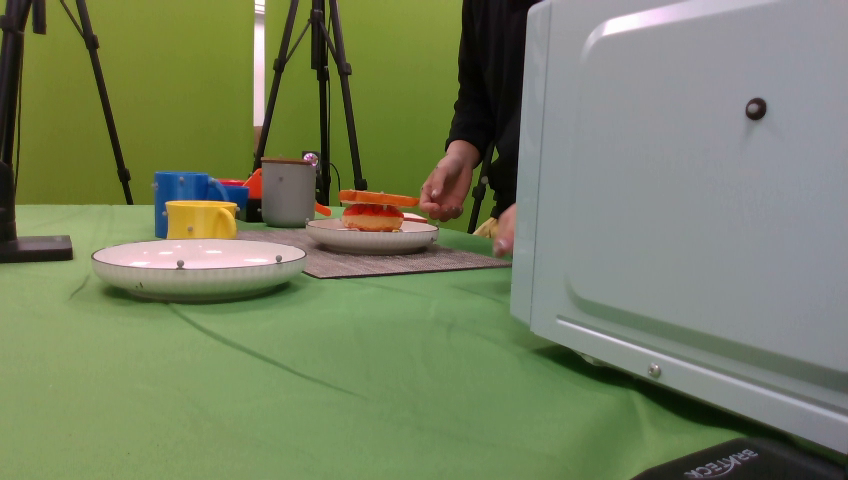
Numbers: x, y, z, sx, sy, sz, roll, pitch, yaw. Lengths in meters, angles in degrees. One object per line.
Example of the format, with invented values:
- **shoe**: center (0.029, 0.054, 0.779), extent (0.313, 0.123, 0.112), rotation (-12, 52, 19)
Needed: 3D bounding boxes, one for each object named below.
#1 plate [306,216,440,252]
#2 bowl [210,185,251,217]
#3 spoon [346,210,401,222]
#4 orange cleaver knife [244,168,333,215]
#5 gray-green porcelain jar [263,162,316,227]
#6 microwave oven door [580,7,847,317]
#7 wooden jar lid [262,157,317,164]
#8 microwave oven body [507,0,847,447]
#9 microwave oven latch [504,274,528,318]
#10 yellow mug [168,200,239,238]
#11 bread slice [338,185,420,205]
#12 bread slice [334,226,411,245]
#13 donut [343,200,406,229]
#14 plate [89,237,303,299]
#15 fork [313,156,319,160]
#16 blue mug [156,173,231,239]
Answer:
- **plate**: center (-0.080, -0.011, 0.949), extent (0.209, 0.038, 0.209), rotation (2, 7, 0)
- **bowl**: center (-0.408, -0.064, 1.154), extent (0.151, 0.077, 0.151), rotation (2, 8, 0)
- **spoon**: center (-0.121, -0.060, 1.400), extent (0.042, 0.021, 0.192), rotation (-27, 25, -38)
- **orange cleaver knife**: center (-0.300, -0.089, 1.351), extent (0.212, 0.077, 0.012), rotation (28, -9, -34)
- **gray-green porcelain jar**: center (-0.271, -0.092, 1.217), extent (0.106, 0.126, 0.106), rotation (2, 7, 0)
- **microwave oven door**: center (0.294, -0.067, 0.570), extent (0.358, 0.243, 0.039), rotation (-3, 9, -31)
- **wooden jar lid**: center (-0.269, -0.154, 1.208), extent (0.108, 0.020, 0.108), rotation (3, 4, 0)
- **microwave oven body**: center (0.331, -0.042, 0.425), extent (0.444, 0.260, 0.324), rotation (-2, 8, -31)
- **microwave oven latch**: center (0.100, 0.041, 0.471), extent (0.079, 0.029, 0.030), rotation (-1, 8, -28)
- **yellow mug**: center (-0.320, -0.023, 0.904), extent (0.130, 0.064, 0.100), rotation (9, 11, 36)
- **bread slice**: center (-0.080, -0.069, 0.938), extent (0.107, 0.018, 0.134), rotation (6, 0, -22)
- **bread slice**: center (-0.075, -0.008, 0.937), extent (0.105, 0.019, 0.131), rotation (0, 7, -20)
- **donut**: center (-0.078, -0.039, 0.946), extent (0.099, 0.048, 0.099), rotation (0, 8, 0)
- **plate**: center (-0.233, 0.029, 0.637), extent (0.208, 0.039, 0.207), rotation (2, 7, 0)
- **fork**: center (-0.331, -0.144, 1.506), extent (0.207, 0.018, 0.028), rotation (-42, -19, 22)
- **blue mug**: center (-0.381, -0.057, 1.004), extent (0.117, 0.106, 0.082), rotation (0, 8, -12)
